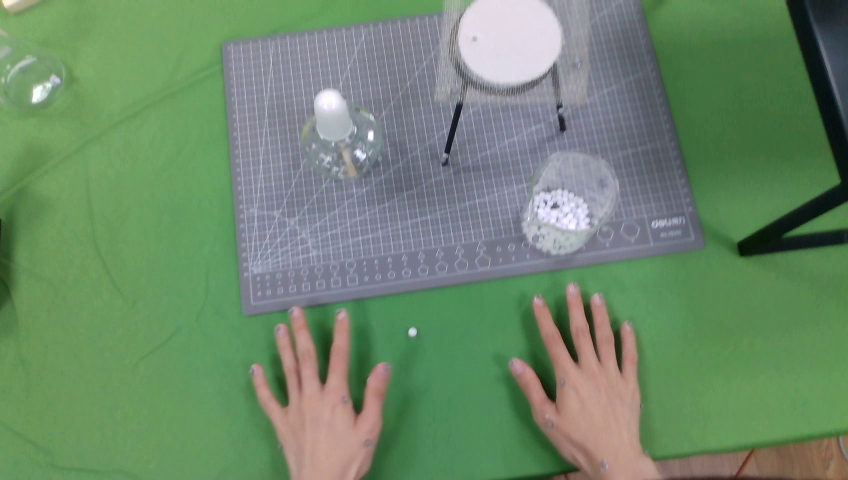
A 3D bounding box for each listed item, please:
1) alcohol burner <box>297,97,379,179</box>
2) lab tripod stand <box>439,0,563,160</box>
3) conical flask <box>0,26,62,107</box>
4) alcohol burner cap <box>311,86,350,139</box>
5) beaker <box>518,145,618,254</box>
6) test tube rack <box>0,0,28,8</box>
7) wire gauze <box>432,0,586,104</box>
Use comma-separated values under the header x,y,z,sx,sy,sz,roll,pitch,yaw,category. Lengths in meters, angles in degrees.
x,y,z,sx,sy,sz,roll,pitch,yaw,category
-0.082,-0.103,0.563,0.078,0.119,0.077,0,74,0,alcohol burner
0.068,-0.147,0.560,0.148,0.132,0.147,0,75,0,lab tripod stand
-0.423,-0.188,0.589,0.075,0.122,0.075,0,75,2,conical flask
-0.083,-0.114,0.528,0.034,0.048,0.033,1,67,-2,alcohol burner cap
0.122,-0.029,0.547,0.084,0.101,0.073,-34,77,-6,beaker
-0.370,-0.350,0.646,0.242,0.085,0.066,-29,77,-6,test tube rack
0.072,-0.170,0.496,0.121,0.011,0.124,5,77,1,wire gauze
